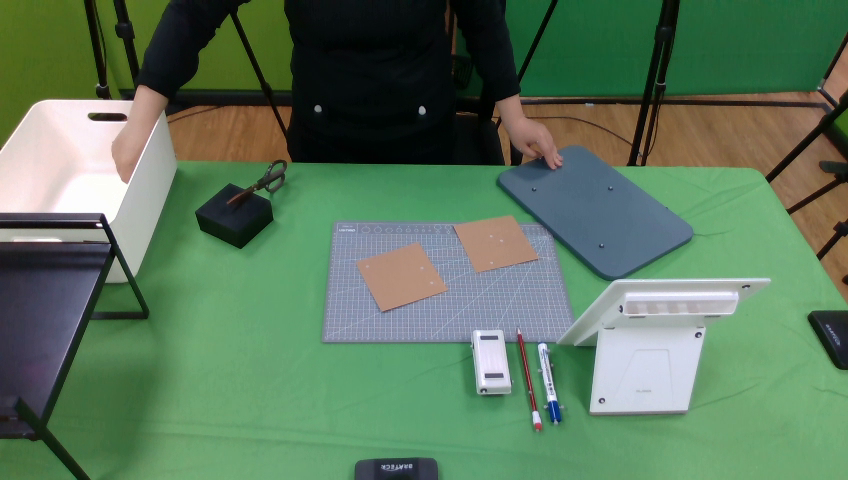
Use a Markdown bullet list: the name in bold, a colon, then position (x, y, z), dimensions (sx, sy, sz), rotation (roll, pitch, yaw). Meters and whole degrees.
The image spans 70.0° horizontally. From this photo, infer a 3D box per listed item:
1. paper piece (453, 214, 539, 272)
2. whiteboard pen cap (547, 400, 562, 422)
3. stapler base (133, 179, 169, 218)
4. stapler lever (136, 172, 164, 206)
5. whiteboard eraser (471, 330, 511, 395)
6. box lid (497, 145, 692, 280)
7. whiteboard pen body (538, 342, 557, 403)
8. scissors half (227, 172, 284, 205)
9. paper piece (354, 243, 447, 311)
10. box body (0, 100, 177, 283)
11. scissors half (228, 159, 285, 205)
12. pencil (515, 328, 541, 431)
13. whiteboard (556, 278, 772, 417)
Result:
- **paper piece**: position (0.142, 0.003, 1.213), dimensions (0.135, 0.004, 0.135), rotation (-12, 47, -14)
- **whiteboard pen cap**: position (0.205, 0.269, 0.956), dimensions (0.018, 0.018, 0.033), rotation (0, 47, -5)
- **stapler base**: position (-0.557, -0.091, 1.237), dimensions (0.041, 0.024, 0.129), rotation (7, 35, -11)
- **stapler lever**: position (-0.554, -0.112, 1.224), dimensions (0.027, 0.040, 0.117), rotation (7, 35, -11)
- **whiteboard eraser**: position (0.110, 0.202, 0.998), dimensions (0.055, 0.042, 0.112), rotation (1, 46, -5)
- **box lid**: position (0.360, -0.073, 1.304), dimensions (0.263, 0.015, 0.369), rotation (-24, 51, -25)
- **whiteboard pen body**: position (0.205, 0.228, 0.997), dimensions (0.017, 0.017, 0.140), rotation (1, 46, -3)
- **scissors half**: position (-0.339, -0.101, 1.230), dimensions (0.013, 0.040, 0.175), rotation (20, 28, 17)
- **paper piece**: position (-0.046, 0.066, 1.137), dimensions (0.136, 0.009, 0.137), rotation (-14, 47, -22)
- **box body**: position (-0.639, -0.095, 1.140), dimensions (0.254, 0.161, 0.361), rotation (1, 46, -4)
- **scissors half**: position (-0.336, -0.117, 1.218), dimensions (0.013, 0.040, 0.174), rotation (24, 46, 14)
- **pencil**: position (0.169, 0.224, 1.002), dimensions (0.012, 0.012, 0.192), rotation (-1, 46, -6)
- **whiteboard**: position (0.347, 0.174, 0.903), dimensions (0.217, 0.306, 0.143), rotation (1, 65, -4)
